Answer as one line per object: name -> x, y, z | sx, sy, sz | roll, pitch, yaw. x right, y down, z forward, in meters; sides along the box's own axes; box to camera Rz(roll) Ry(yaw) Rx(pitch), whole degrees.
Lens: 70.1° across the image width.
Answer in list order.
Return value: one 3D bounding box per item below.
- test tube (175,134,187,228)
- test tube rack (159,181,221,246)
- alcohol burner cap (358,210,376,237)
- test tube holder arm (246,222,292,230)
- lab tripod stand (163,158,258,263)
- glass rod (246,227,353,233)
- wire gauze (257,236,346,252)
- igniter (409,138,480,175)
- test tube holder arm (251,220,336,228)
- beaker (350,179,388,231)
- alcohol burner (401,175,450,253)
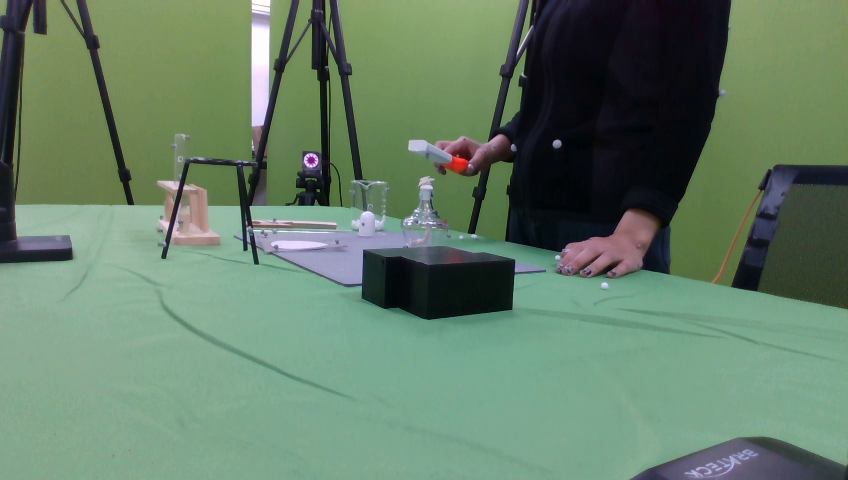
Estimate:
test tube -> -0.388, -0.093, 0.964 | 0.017, 0.150, 0.017 | 1, 2, 0
test tube rack -> -0.395, -0.050, 1.010 | 0.067, 0.085, 0.241 | -2, 8, -28
alcohol burner cap -> -0.104, -0.030, 1.098 | 0.034, 0.048, 0.034 | 3, 7, 0
test tube holder arm -> -0.291, -0.026, 1.129 | 0.088, 0.015, 0.010 | -1, 41, -29
lab tripod stand -> -0.265, -0.041, 0.802 | 0.148, 0.131, 0.148 | 4, 7, 0
glass rod -> -0.224, -0.017, 1.109 | 0.201, 0.008, 0.008 | 1, 7, -27
wire gauze -> -0.189, 0.005, 0.931 | 0.122, 0.011, 0.124 | 1, 7, -21
igniter -> 0.042, -0.147, 1.084 | 0.057, 0.025, 0.277 | 5, -1, 23
test tube holder arm -> -0.253, -0.030, 1.155 | 0.179, 0.015, 0.013 | -1, 41, -30
beaker -> -0.111, -0.069, 1.204 | 0.074, 0.100, 0.084 | 2, 9, 0
alcohol burner -> 0.003, -0.040, 0.933 | 0.078, 0.119, 0.078 | 2, 9, 0
